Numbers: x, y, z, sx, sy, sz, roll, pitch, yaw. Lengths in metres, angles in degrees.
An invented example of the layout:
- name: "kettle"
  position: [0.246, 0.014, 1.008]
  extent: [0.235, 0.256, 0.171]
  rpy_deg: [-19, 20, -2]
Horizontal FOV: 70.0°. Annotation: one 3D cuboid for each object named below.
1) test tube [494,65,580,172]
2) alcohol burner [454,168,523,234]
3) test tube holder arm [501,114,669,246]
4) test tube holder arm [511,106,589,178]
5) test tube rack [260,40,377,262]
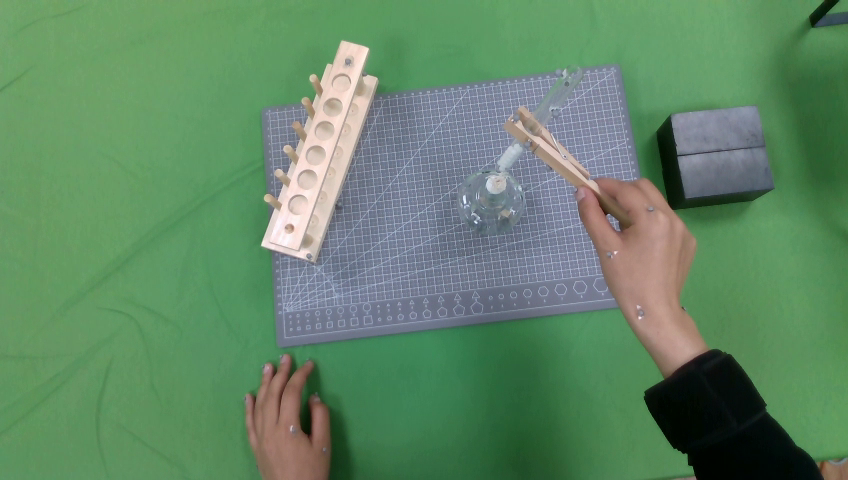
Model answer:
- name: "test tube"
  position: [0.095, -0.100, 0.532]
  extent: [0.017, 0.150, 0.017]
  rpy_deg: [6, 65, -14]
- name: "alcohol burner"
  position: [0.073, -0.048, 0.671]
  extent: [0.078, 0.119, 0.077]
  rpy_deg: [0, 78, 1]
- name: "test tube holder arm"
  position: [0.142, -0.052, 0.537]
  extent: [0.178, 0.015, 0.013]
  rpy_deg: [39, 62, 0]
- name: "test tube holder arm"
  position: [0.112, -0.085, 0.541]
  extent: [0.087, 0.015, 0.010]
  rpy_deg: [46, 62, 4]
- name: "test tube rack"
  position: [-0.128, -0.104, 0.702]
  extent: [0.066, 0.085, 0.241]
  rpy_deg: [17, 80, 6]
